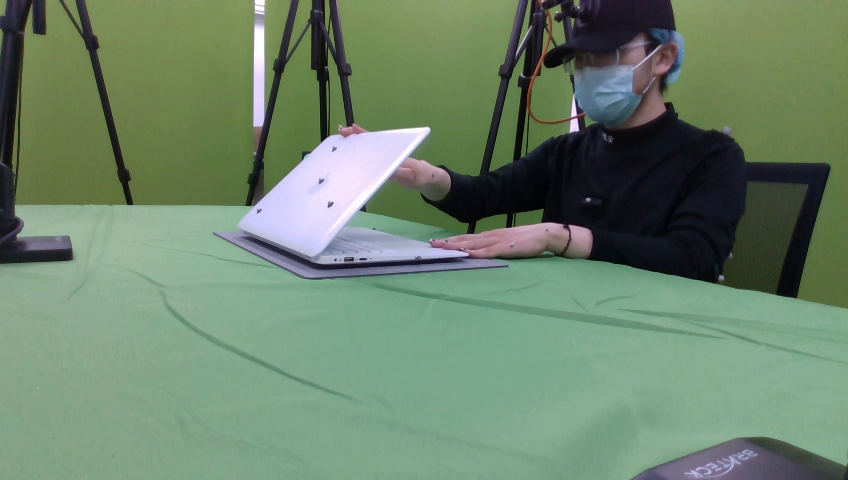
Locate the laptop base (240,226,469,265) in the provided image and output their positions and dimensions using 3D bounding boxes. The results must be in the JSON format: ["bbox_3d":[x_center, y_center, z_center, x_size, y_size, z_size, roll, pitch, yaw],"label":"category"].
[{"bbox_3d":[-0.124,0.005,0.936,0.237,0.023,0.352,2,6,-33],"label":"laptop base"}]

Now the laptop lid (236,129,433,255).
[{"bbox_3d":[-0.151,-0.085,0.904,0.242,0.013,0.355,-47,28,-16],"label":"laptop lid"}]
